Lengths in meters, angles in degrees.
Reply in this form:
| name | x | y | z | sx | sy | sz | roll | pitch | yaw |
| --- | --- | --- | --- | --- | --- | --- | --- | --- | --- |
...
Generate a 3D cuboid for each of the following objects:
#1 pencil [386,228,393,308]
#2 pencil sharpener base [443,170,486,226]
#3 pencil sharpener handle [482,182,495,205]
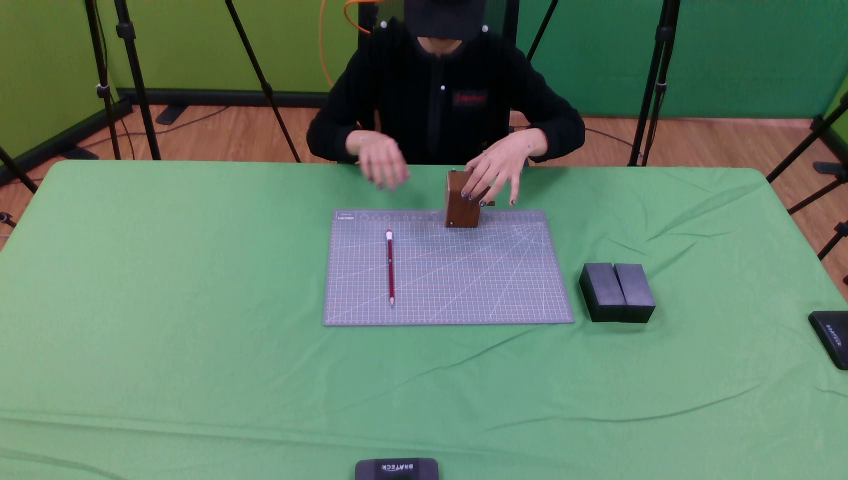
| name | x | y | z | sx | sy | sz | roll | pitch | yaw |
| --- | --- | --- | --- | --- | --- | --- | --- | --- | --- |
| pencil | -0.065 | 0.050 | 1.152 | 0.012 | 0.012 | 0.193 | -1 | 48 | -4 |
| pencil sharpener base | 0.080 | -0.083 | 1.221 | 0.077 | 0.107 | 0.061 | 1 | 46 | -4 |
| pencil sharpener handle | 0.132 | -0.093 | 1.217 | 0.031 | 0.068 | 0.036 | 1 | 56 | -3 |
